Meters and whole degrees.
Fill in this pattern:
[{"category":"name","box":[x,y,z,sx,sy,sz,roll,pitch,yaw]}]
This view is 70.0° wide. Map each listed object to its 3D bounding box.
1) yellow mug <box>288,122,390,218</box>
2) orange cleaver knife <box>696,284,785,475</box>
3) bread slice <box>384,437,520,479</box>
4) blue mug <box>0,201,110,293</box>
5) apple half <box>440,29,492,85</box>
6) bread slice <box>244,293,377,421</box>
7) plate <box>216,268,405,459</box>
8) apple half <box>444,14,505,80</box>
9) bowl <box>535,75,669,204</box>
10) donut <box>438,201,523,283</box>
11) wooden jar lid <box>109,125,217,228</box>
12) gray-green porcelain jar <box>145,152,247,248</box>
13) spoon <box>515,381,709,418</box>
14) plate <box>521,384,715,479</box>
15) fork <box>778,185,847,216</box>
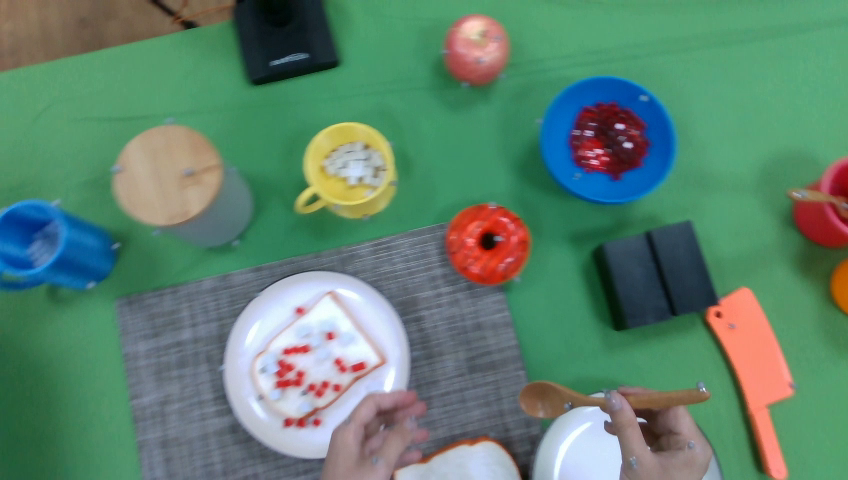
[{"category":"yellow mug","box":[-0.105,-0.072,0.715,0.131,0.064,0.099,-37,81,-6]},{"category":"orange cleaver knife","box":[0.374,0.155,0.693,0.077,0.012,0.210,-12,77,-9]},{"category":"bread slice","box":[0.040,0.272,0.634,0.134,0.018,0.106,-18,76,-23]},{"category":"blue mug","box":[-0.432,0.020,0.676,0.116,0.106,0.082,-39,80,-7]},{"category":"apple half","box":[0.043,-0.212,0.738,0.081,0.081,0.033,42,77,8]},{"category":"bread slice","box":[-0.134,0.139,0.684,0.131,0.019,0.104,-39,81,-9]},{"category":"plate","box":[-0.125,0.136,0.684,0.208,0.039,0.206,0,79,0]},{"category":"apple half","box":[0.069,-0.240,0.745,0.080,0.075,0.053,42,76,12]},{"category":"bowl","box":[0.200,-0.107,0.716,0.151,0.077,0.150,0,79,0]},{"category":"donut","box":[0.066,0.002,0.707,0.099,0.048,0.098,0,79,0]},{"category":"wooden jar lid","box":[-0.264,-0.064,0.619,0.108,0.021,0.108,0,77,1]},{"category":"gray-green porcelain jar","box":[-0.264,-0.050,0.680,0.106,0.127,0.105,0,78,0]},{"category":"spoon","box":[0.158,0.143,0.540,0.021,0.193,0.042,-29,97,-39]},{"category":"plate","box":[0.208,0.264,0.661,0.209,0.038,0.208,0,79,1]},{"category":"fork","box":[0.436,-0.045,0.668,0.209,0.018,0.028,3,75,-42]}]
